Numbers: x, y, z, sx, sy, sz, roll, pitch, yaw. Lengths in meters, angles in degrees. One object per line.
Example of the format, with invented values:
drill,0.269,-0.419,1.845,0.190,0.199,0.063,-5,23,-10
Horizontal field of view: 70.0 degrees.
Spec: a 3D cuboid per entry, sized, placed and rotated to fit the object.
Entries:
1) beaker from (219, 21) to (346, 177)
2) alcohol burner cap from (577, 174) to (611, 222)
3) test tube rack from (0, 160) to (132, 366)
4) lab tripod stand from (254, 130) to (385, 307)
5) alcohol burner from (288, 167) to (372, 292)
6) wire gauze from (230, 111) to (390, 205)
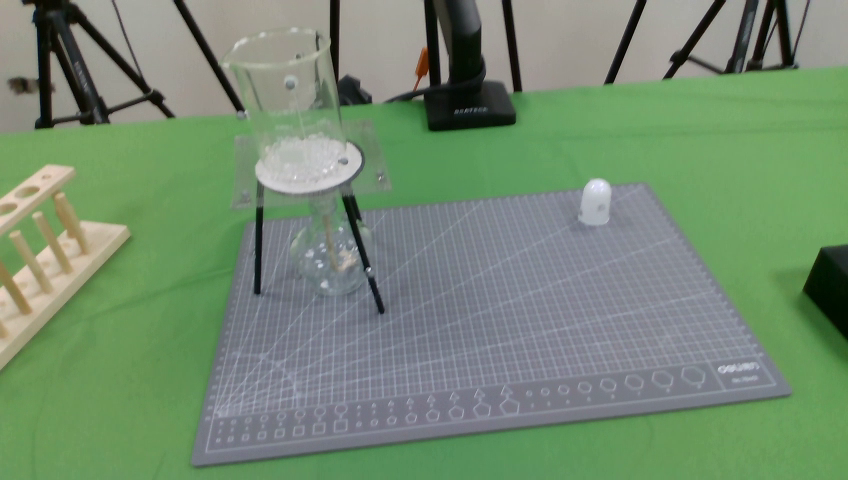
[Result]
beaker,-0.104,-0.106,0.468,0.084,0.101,0.073,-10,39,-6
alcohol burner cap,0.177,-0.046,0.626,0.034,0.048,0.033,-3,39,2
test tube rack,-0.380,0.029,0.550,0.066,0.086,0.240,7,40,12
lab tripod stand,-0.093,-0.018,0.542,0.148,0.133,0.147,-3,41,3
alcohol burner,-0.088,-0.012,0.549,0.078,0.120,0.077,-3,38,3
wire gauze,-0.097,-0.069,0.500,0.125,0.011,0.120,-12,38,-5
